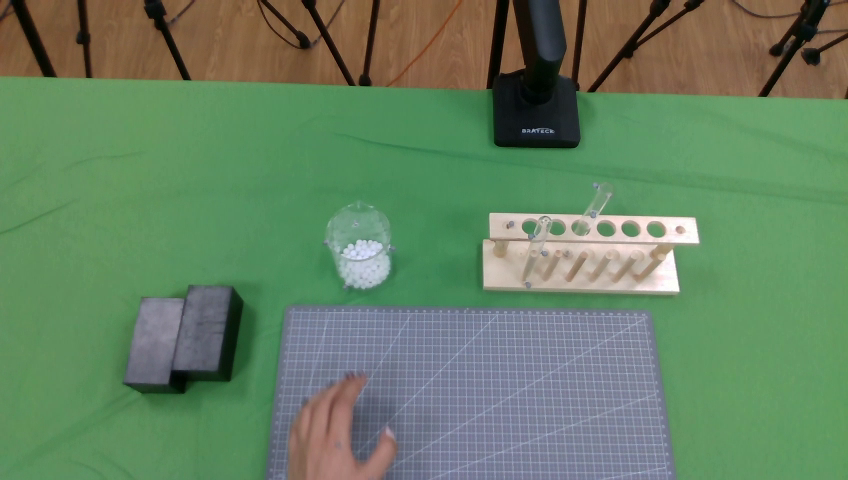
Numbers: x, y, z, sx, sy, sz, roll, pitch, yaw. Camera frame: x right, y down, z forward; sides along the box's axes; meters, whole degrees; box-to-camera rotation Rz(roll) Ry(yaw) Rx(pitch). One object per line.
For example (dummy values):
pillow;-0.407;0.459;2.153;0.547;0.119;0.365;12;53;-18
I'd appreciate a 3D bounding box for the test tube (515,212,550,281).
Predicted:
test tube;0.122;0.010;0.688;0.017;0.151;0.017;1;62;-1

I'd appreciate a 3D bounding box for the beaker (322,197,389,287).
beaker;-0.079;0.007;0.726;0.074;0.101;0.083;-3;64;-3

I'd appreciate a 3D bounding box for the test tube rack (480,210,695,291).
test tube rack;0.193;0.014;0.737;0.242;0.086;0.066;1;65;-1

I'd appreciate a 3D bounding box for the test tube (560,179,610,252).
test tube;0.183;-0.024;0.700;0.017;0.151;0.017;2;62;-3
